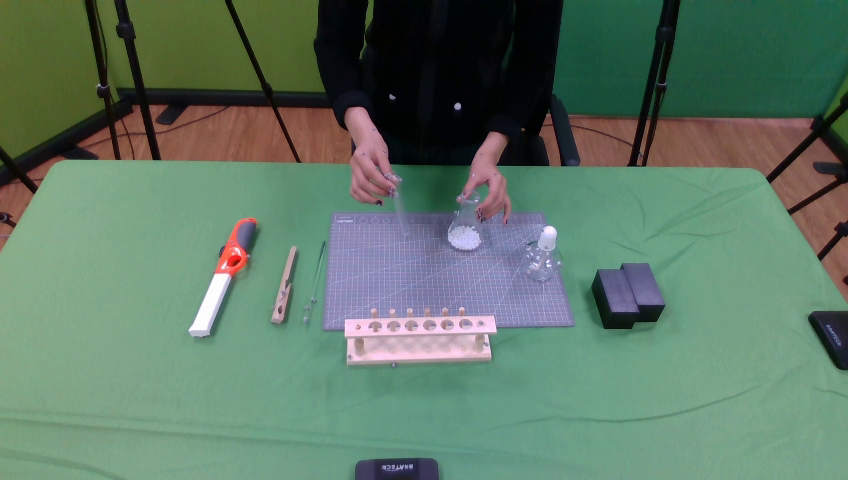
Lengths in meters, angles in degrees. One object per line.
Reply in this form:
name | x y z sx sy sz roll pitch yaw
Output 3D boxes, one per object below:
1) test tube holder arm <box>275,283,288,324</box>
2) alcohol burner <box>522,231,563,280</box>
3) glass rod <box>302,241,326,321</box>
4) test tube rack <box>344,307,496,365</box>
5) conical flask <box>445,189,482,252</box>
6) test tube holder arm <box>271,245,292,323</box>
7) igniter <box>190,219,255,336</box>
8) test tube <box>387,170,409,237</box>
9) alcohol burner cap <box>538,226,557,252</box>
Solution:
test tube holder arm | -0.254 0.110 1.077 0.010 0.015 0.087 30 38 -28
alcohol burner | 0.224 0.020 1.131 0.078 0.119 0.077 4 46 -4
glass rod | -0.203 0.071 1.124 0.008 0.008 0.198 5 44 1
test tube rack | -0.009 0.154 1.007 0.242 0.085 0.066 -1 46 -5
conical flask | 0.082 -0.041 1.173 0.075 0.122 0.075 2 46 -2
test tube holder arm | -0.260 0.075 1.105 0.013 0.015 0.177 29 38 -29
igniter | -0.365 0.058 1.110 0.057 0.025 0.275 -1 45 8
test tube | -0.044 -0.059 1.041 0.017 0.151 0.017 -5 46 6
alcohol burner cap | 0.226 -0.004 1.104 0.034 0.048 0.033 -1 50 1
